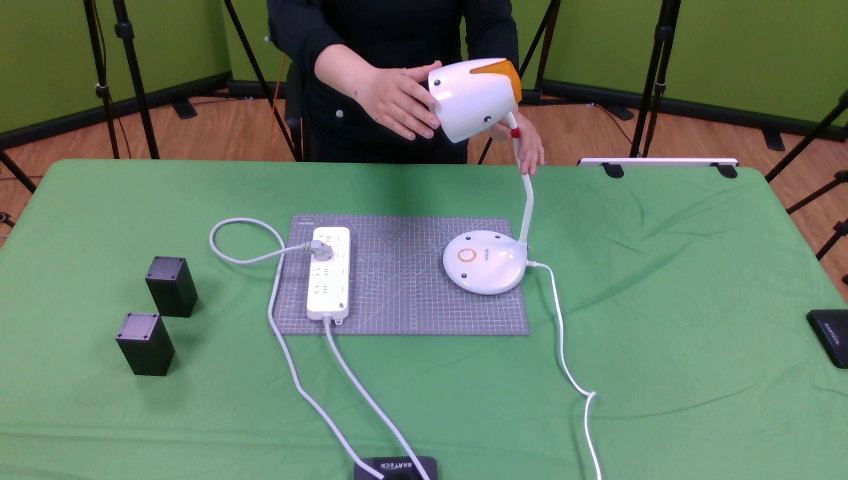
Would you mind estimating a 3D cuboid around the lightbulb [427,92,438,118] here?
[{"bbox_3d":[0.056,-0.212,0.887,0.107,0.060,0.059,-11,40,25],"label":"lightbulb"}]

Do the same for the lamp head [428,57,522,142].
[{"bbox_3d":[0.081,-0.211,0.881,0.123,0.113,0.111,-14,44,14],"label":"lamp head"}]

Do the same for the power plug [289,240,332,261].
[{"bbox_3d":[-0.208,0.022,1.123,0.072,0.053,0.035,5,44,5],"label":"power plug"}]

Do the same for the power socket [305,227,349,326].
[{"bbox_3d":[-0.177,0.058,1.115,0.072,0.033,0.225,-1,46,-4],"label":"power socket"}]

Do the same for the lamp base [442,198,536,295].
[{"bbox_3d":[0.131,-0.013,1.106,0.179,0.181,0.159,0,46,-8],"label":"lamp base"}]
